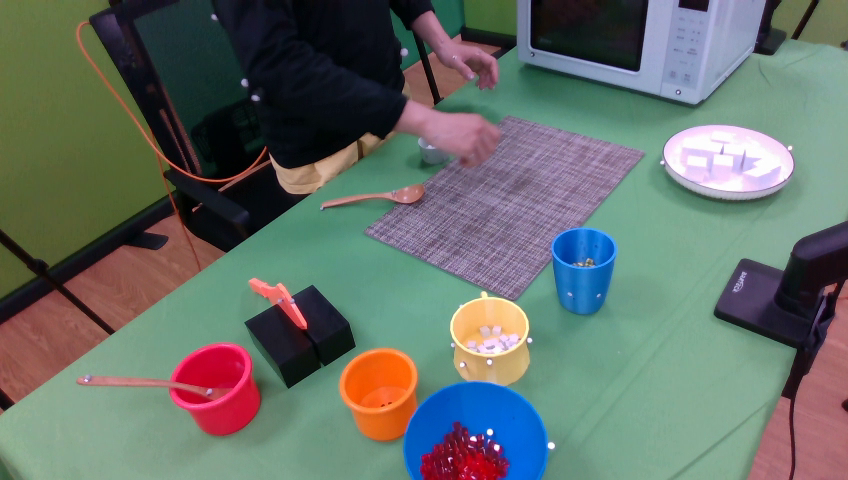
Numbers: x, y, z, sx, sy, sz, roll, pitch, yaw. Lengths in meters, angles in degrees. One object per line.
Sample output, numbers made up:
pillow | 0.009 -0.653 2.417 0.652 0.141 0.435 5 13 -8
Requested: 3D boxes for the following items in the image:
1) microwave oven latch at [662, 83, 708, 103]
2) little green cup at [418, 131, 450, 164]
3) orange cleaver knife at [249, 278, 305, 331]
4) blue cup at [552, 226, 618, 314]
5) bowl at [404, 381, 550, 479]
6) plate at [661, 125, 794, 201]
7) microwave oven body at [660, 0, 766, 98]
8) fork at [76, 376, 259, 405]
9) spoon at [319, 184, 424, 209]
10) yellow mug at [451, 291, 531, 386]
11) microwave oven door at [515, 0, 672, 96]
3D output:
microwave oven latch | 0.517 -0.296 1.204 0.078 0.029 0.030 27 52 35
little green cup | 0.020 -0.178 1.168 0.061 0.039 0.061 -3 42 3
orange cleaver knife | -0.210 0.089 0.856 0.012 0.077 0.210 -28 15 -25
blue cup | 0.218 0.047 0.825 0.092 0.101 0.092 -6 40 5
bowl | 0.058 0.235 0.645 0.151 0.077 0.150 -4 39 4
plate | 0.513 -0.128 1.035 0.207 0.039 0.206 -4 40 4
microwave oven body | 0.472 -0.513 1.317 0.438 0.261 0.327 26 51 34
fork | -0.295 0.176 0.716 0.209 0.018 0.028 19 26 -36
spoon | -0.094 -0.075 1.074 0.193 0.022 0.041 -5 56 5
yellow mug | 0.085 0.120 0.786 0.100 0.064 0.130 -7 39 1
microwave oven door | 0.343 -0.455 1.259 0.353 0.245 0.039 26 51 33
